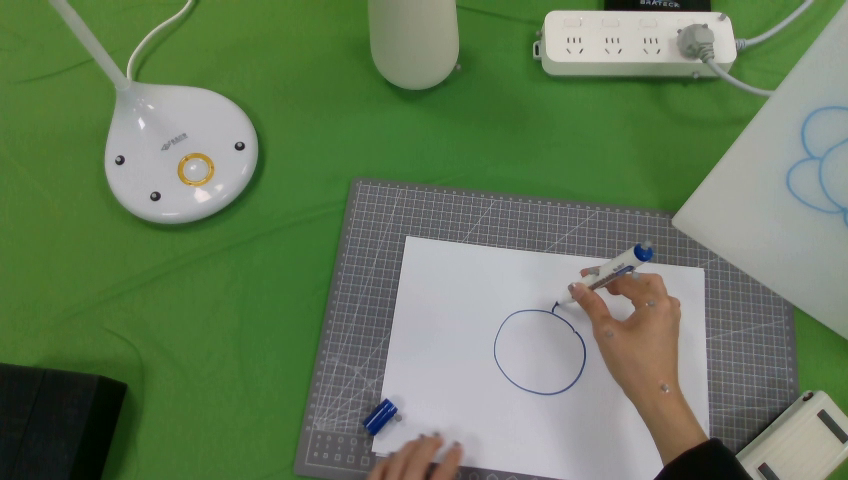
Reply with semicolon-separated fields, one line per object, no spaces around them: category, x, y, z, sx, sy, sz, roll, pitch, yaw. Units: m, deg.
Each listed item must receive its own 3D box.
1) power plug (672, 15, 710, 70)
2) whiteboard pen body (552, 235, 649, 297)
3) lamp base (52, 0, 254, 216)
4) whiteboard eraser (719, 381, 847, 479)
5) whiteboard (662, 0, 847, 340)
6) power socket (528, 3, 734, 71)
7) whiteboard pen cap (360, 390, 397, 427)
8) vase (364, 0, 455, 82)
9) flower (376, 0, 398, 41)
power plug;0.282;-0.206;0.648;0.035;0.053;0.072;11;77;5
whiteboard pen body;0.149;0.028;0.533;0.017;0.141;0.017;7;66;-17
lamp base;-0.273;-0.134;0.577;0.178;0.181;0.160;39;75;17
whiteboard eraser;0.314;0.176;0.525;0.112;0.042;0.055;-36;72;-11
whiteboard;0.398;-0.089;0.515;0.216;0.307;0.143;37;54;14
power socket;0.233;-0.228;0.680;0.227;0.033;0.071;1;71;1
whiteboard pen cap;-0.041;0.154;0.553;0.018;0.018;0.033;41;73;15
vase;-0.018;-0.248;0.604;0.098;0.201;0.097;-1;69;2
flower;-0.002;-0.266;0.523;0.044;0.361;0.038;-37;90;-20
